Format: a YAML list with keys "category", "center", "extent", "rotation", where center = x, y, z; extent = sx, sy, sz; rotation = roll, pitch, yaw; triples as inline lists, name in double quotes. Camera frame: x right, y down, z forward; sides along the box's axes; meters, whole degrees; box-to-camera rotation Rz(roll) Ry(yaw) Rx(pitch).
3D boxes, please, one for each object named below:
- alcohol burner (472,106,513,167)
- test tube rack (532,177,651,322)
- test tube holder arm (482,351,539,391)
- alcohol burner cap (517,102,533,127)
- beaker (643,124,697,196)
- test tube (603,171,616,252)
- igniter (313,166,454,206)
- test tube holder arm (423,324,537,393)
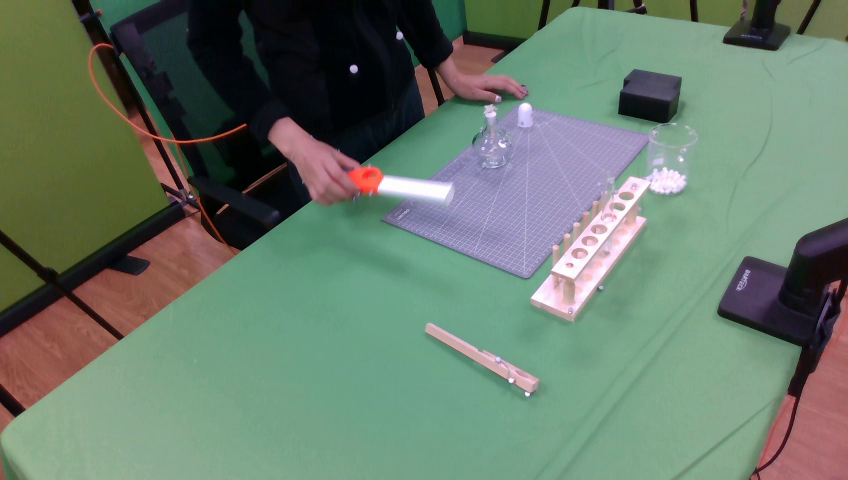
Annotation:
- category: "alcohol burner"
  center: [0.125, -0.195, 1.111]
  extent: [0.078, 0.119, 0.077]
  rotation: [-5, 42, 5]
- category: "test tube rack"
  center: [0.247, 0.002, 0.883]
  extent: [0.066, 0.085, 0.243]
  rotation: [23, 49, 32]
- category: "test tube holder arm"
  center: [0.107, 0.166, 0.769]
  extent: [0.087, 0.015, 0.010]
  rotation: [24, 16, 34]
- category: "alcohol burner cap"
  center: [0.205, -0.255, 1.223]
  extent: [0.034, 0.048, 0.033]
  rotation: [-6, 40, 5]
- category: "beaker"
  center: [0.407, -0.132, 1.001]
  extent: [0.084, 0.101, 0.073]
  rotation: [-20, 42, -13]
- category: "test tube"
  center: [0.259, -0.036, 0.848]
  extent: [0.017, 0.151, 0.017]
  rotation: [-8, 46, 9]
- category: "igniter"
  center: [-0.076, -0.089, 0.974]
  extent: [0.274, 0.025, 0.057]
  rotation: [12, 57, 31]
- category: "test tube holder arm"
  center: [0.069, 0.151, 0.789]
  extent: [0.177, 0.015, 0.013]
  rotation: [23, 16, 33]
